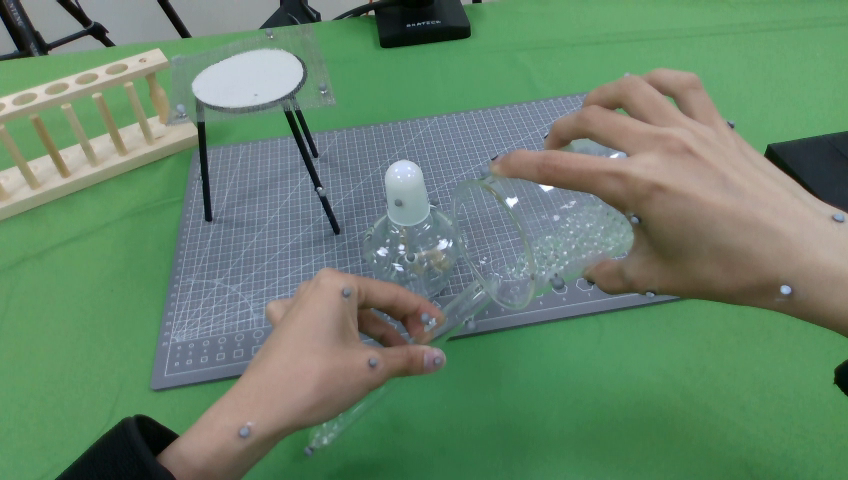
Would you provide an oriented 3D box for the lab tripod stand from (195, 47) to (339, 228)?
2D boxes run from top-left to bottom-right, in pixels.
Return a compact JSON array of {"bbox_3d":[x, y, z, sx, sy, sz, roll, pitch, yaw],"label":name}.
[{"bbox_3d":[-0.137,-0.085,0.528,0.148,0.133,0.147,-3,47,3],"label":"lab tripod stand"}]

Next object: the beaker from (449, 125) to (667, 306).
[{"bbox_3d":[0.075,-0.015,0.337,0.100,0.084,0.073,-24,55,-21],"label":"beaker"}]

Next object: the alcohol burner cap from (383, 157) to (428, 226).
[{"bbox_3d":[-0.015,-0.037,0.434,0.034,0.048,0.033,-3,47,4],"label":"alcohol burner cap"}]

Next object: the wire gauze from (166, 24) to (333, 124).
[{"bbox_3d":[-0.142,-0.132,0.480,0.125,0.011,0.120,-14,46,-7],"label":"wire gauze"}]

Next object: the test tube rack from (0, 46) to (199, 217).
[{"bbox_3d":[-0.361,-0.105,0.604,0.242,0.086,0.066,-27,49,-20],"label":"test tube rack"}]

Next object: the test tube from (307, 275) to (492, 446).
[{"bbox_3d":[-0.018,0.075,0.365,0.150,0.017,0.017,-43,47,12],"label":"test tube"}]

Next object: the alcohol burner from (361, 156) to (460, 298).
[{"bbox_3d":[-0.011,-0.013,0.460,0.078,0.120,0.077,-2,43,3],"label":"alcohol burner"}]
